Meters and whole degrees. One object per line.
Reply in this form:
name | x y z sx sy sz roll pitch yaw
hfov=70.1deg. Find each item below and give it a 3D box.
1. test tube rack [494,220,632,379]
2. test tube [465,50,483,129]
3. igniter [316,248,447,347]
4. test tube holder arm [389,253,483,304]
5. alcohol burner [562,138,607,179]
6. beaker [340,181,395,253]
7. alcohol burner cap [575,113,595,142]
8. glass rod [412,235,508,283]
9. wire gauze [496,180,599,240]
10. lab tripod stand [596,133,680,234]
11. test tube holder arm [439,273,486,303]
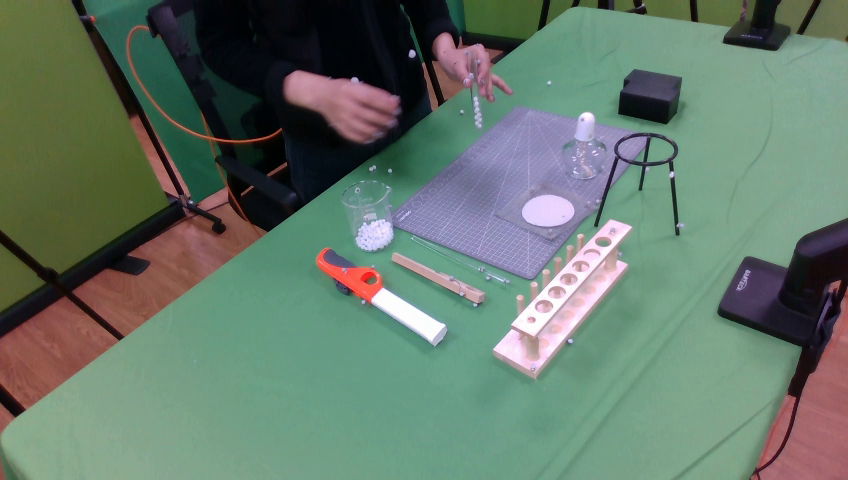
test tube rack | 0.191 0.068 0.818 0.066 0.085 0.243 25 51 35
test tube | 0.088 -0.256 1.044 0.017 0.151 0.017 -7 44 7
igniter | -0.074 0.079 0.901 0.274 0.025 0.057 29 63 36
test tube holder arm | 0.015 0.056 0.916 0.177 0.015 0.013 23 15 33
alcohol burner | 0.280 -0.166 1.051 0.078 0.119 0.077 -5 39 4
beaker | -0.086 -0.037 0.985 0.084 0.101 0.073 -18 41 -11
alcohol burner cap | 0.277 -0.193 1.028 0.034 0.048 0.033 -2 45 3
glass rod | 0.051 0.028 0.951 0.198 0.008 0.008 25 52 37
wire gauze | 0.206 -0.050 1.011 0.125 0.011 0.120 -34 45 -26
lab tripod stand | 0.338 -0.090 0.940 0.148 0.132 0.147 -7 38 6
test tube holder arm | 0.053 0.071 0.896 0.087 0.015 0.010 24 15 34
